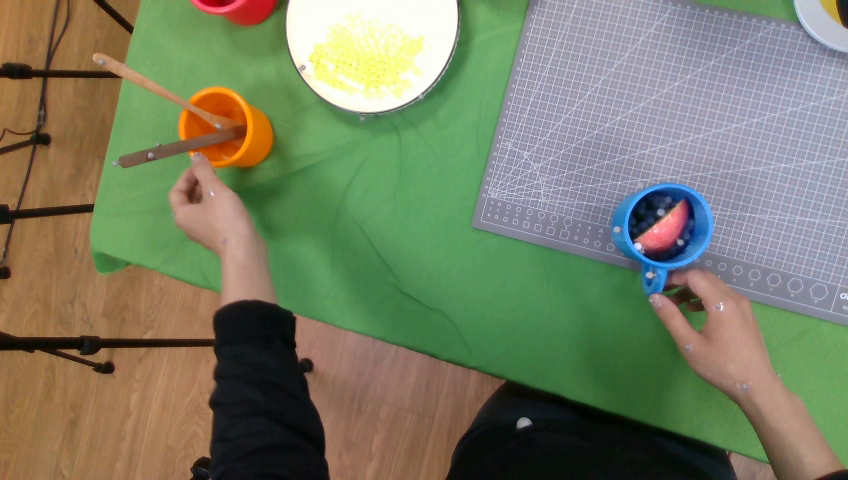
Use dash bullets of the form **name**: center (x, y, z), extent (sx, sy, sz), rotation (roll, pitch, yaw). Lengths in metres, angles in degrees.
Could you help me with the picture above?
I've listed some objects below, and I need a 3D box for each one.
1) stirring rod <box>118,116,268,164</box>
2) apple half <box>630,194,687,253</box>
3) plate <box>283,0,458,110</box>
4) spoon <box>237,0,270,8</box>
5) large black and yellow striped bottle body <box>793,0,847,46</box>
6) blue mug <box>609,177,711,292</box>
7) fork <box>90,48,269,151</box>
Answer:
- **stirring rod**: center (-0.262, -0.118, 0.702), extent (0.176, 0.006, 0.014), rotation (-24, 90, -32)
- **apple half**: center (0.246, -0.011, 0.624), extent (0.081, 0.081, 0.032), rotation (-40, 77, 9)
- **plate**: center (-0.061, -0.256, 0.711), extent (0.209, 0.038, 0.209), rotation (0, 93, 11)
- **spoon**: center (-0.268, -0.322, 0.691), extent (0.195, 0.021, 0.041), rotation (18, 96, -34)
- **large black and yellow striped bottle body**: center (0.436, -0.266, 0.546), extent (0.130, 0.184, 0.130), rotation (0, 90, 10)
- **blue mug**: center (0.240, -0.004, 0.631), extent (0.082, 0.106, 0.116), rotation (5, 93, 11)
- **fork**: center (-0.274, -0.159, 0.696), extent (0.209, 0.018, 0.028), rotation (28, 95, -36)
